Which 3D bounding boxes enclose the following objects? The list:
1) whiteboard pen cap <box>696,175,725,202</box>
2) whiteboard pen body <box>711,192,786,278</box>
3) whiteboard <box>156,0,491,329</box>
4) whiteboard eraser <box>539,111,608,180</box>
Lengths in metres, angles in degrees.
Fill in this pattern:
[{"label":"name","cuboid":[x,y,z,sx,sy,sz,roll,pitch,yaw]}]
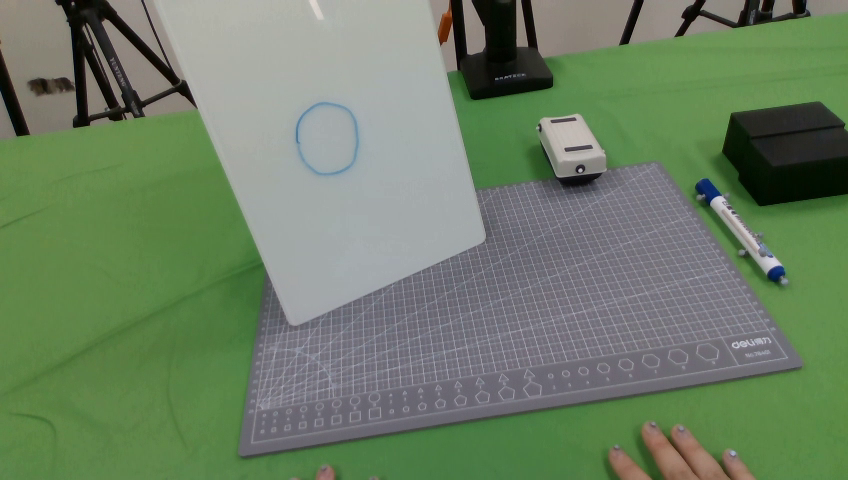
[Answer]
[{"label":"whiteboard pen cap","cuboid":[0.302,-0.053,0.637,0.018,0.018,0.033,-10,40,-2]},{"label":"whiteboard pen body","cuboid":[0.310,-0.015,0.594,0.017,0.017,0.139,-10,41,-2]},{"label":"whiteboard","cuboid":[-0.091,-0.111,0.592,0.217,0.308,0.142,-23,24,-16]},{"label":"whiteboard eraser","cuboid":[0.172,-0.110,0.705,0.055,0.042,0.111,-9,37,2]}]
